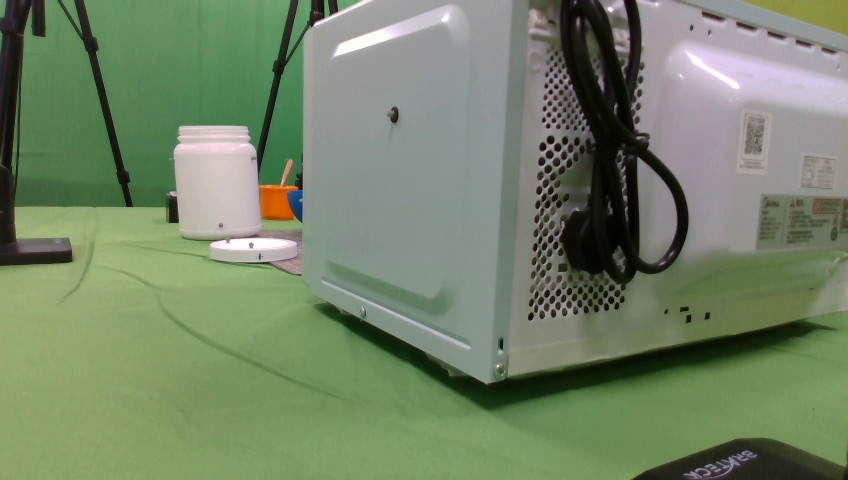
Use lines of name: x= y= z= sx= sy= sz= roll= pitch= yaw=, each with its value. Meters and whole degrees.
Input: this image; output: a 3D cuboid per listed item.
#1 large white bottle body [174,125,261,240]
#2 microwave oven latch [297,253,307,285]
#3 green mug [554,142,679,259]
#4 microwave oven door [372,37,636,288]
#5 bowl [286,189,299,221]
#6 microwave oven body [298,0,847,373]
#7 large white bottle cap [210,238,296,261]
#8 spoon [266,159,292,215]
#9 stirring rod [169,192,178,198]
large white bottle body: x=-0.349 y=-0.100 z=1.024 sx=0.131 sy=0.184 sz=0.130 roll=-1 pitch=9 yaw=0
microwave oven latch: x=-0.082 y=0.027 z=0.582 sx=0.079 sy=0.029 sz=0.030 roll=-1 pitch=7 yaw=-33
green mug: x=0.180 y=-0.037 z=0.584 sx=0.124 sy=0.105 sz=0.093 roll=3 pitch=5 yaw=44
microwave oven door: x=0.109 y=-0.080 z=0.686 sx=0.358 sy=0.243 sz=0.039 roll=-2 pitch=9 yaw=-33
bowl: x=-0.179 y=-0.051 z=1.115 sx=0.151 sy=0.077 sz=0.151 roll=3 pitch=8 yaw=0
microwave oven body: x=0.151 y=-0.055 z=0.542 sx=0.444 sy=0.260 sz=0.324 roll=-1 pitch=7 yaw=-33
large white bottle cap: x=-0.236 y=0.012 z=0.839 sx=0.115 sy=0.018 sz=0.115 roll=2 pitch=7 yaw=0
spoon: x=-0.334 y=-0.127 z=1.423 sx=0.041 sy=0.193 sz=0.021 roll=0 pitch=-37 yaw=6
stirring rod: x=-0.465 y=-0.097 z=1.283 sx=0.014 sy=0.006 sz=0.177 roll=41 pitch=21 yaw=17
